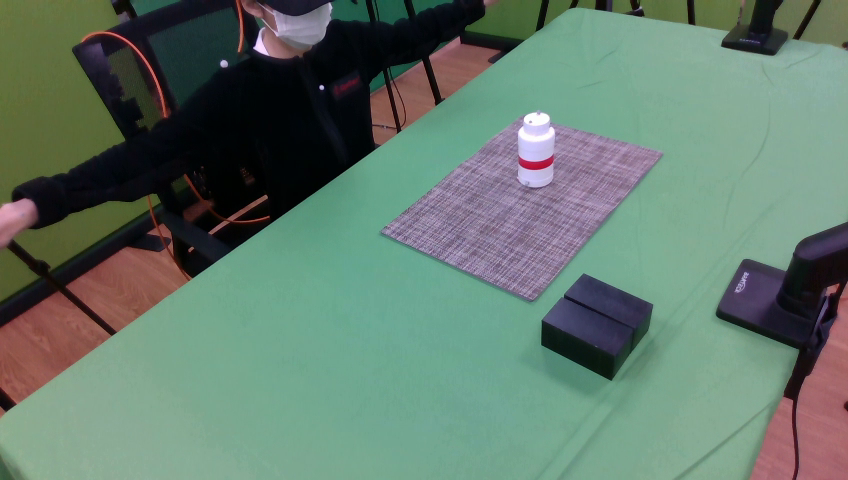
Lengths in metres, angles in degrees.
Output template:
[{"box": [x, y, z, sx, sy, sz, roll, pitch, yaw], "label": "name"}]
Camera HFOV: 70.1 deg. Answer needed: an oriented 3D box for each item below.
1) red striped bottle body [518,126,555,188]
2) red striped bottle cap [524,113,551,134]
[{"box": [0.195, -0.156, 1.046, 0.063, 0.120, 0.062, -5, 39, 4], "label": "red striped bottle body"}, {"box": [0.190, -0.196, 1.013, 0.044, 0.018, 0.044, -7, 39, 6], "label": "red striped bottle cap"}]
